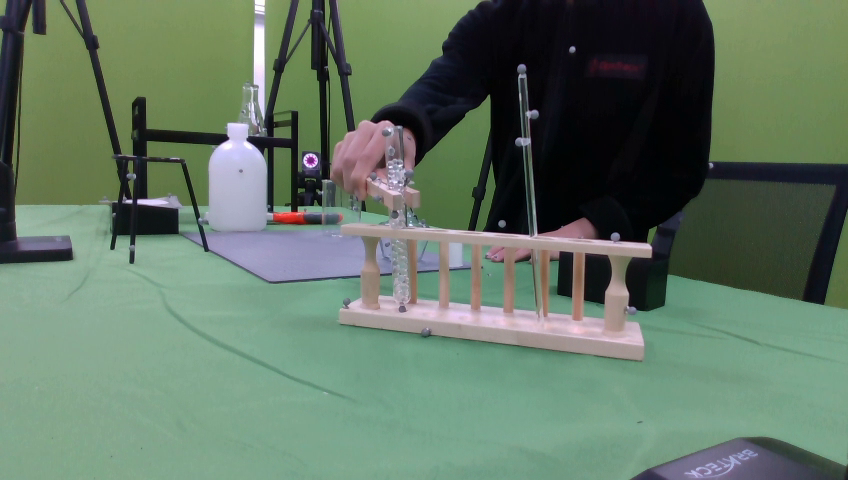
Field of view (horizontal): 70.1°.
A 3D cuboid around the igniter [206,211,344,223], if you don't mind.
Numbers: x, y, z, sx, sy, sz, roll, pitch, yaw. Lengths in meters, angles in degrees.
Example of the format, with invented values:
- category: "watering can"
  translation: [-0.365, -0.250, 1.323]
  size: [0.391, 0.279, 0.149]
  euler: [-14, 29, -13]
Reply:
- category: "igniter"
  translation: [-0.302, -0.048, 1.250]
  size: [0.278, 0.025, 0.057]
  euler: [-2, -2, -26]

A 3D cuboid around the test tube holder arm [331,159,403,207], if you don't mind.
- category: "test tube holder arm"
  translation: [-0.056, -0.055, 0.543]
  size: [0.013, 0.015, 0.177]
  euler: [-2, 16, -26]

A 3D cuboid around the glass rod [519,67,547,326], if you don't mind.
- category: "glass rod"
  translation: [0.083, -0.028, 0.459]
  size: [0.008, 0.199, 0.008]
  euler: [-6, 11, 2]

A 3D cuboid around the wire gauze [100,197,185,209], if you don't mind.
- category: "wire gauze"
  translation: [-0.469, -0.062, 1.008]
  size: [0.126, 0.011, 0.121]
  euler: [-2, 8, -25]

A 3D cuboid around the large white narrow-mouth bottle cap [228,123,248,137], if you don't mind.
- category: "large white narrow-mouth bottle cap"
  translation: [-0.338, -0.199, 1.097]
  size: [0.038, 0.024, 0.037]
  euler: [2, 8, 0]

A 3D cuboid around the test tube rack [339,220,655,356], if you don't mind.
- category: "test tube rack"
  translation: [0.056, 0.032, 0.495]
  size: [0.242, 0.085, 0.067]
  euler: [4, 7, 15]

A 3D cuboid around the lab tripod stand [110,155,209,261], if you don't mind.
- category: "lab tripod stand"
  translation: [-0.362, -0.046, 0.806]
  size: [0.148, 0.131, 0.148]
  euler: [2, 5, 0]

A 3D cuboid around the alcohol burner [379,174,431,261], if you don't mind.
- category: "alcohol burner"
  translation: [-0.027, -0.031, 0.838]
  size: [0.078, 0.119, 0.078]
  euler: [0, 6, 0]

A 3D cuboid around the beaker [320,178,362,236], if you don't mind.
- category: "beaker"
  translation: [-0.145, -0.059, 1.079]
  size: [0.074, 0.100, 0.083]
  euler: [-4, 10, -36]

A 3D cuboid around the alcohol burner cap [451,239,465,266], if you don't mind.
- category: "alcohol burner cap"
  translation: [0.041, 0.009, 0.815]
  size: [0.034, 0.048, 0.034]
  euler: [5, 8, 0]

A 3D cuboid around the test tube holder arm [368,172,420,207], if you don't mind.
- category: "test tube holder arm"
  translation: [-0.030, -0.044, 0.508]
  size: [0.010, 0.015, 0.087]
  euler: [-5, 17, -33]

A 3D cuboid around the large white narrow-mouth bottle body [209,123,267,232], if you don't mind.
- category: "large white narrow-mouth bottle body"
  translation: [-0.340, -0.115, 1.109]
  size: [0.102, 0.194, 0.102]
  euler: [2, 8, 0]

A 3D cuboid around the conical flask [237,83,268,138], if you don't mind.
- category: "conical flask"
  translation: [-0.402, -0.299, 1.406]
  size: [0.075, 0.122, 0.075]
  euler: [2, 7, 0]

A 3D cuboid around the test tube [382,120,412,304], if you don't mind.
- category: "test tube"
  translation: [-0.021, -0.021, 0.489]
  size: [0.017, 0.150, 0.017]
  euler: [-3, 12, 1]
